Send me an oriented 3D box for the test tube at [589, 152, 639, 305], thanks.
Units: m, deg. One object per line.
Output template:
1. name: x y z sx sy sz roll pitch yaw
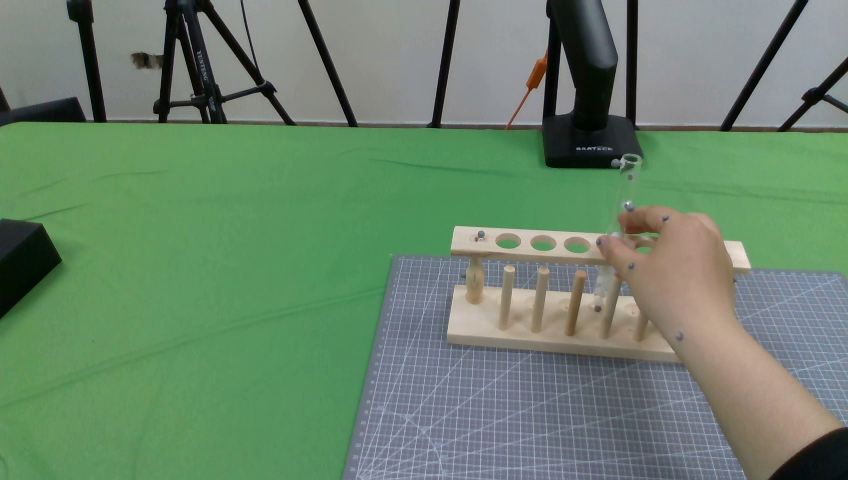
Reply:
1. test tube: 0.158 -0.004 0.509 0.017 0.151 0.017 0 36 0

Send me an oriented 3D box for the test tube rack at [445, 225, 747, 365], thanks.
1. test tube rack: 0.142 0.046 0.527 0.242 0.086 0.066 4 39 7
